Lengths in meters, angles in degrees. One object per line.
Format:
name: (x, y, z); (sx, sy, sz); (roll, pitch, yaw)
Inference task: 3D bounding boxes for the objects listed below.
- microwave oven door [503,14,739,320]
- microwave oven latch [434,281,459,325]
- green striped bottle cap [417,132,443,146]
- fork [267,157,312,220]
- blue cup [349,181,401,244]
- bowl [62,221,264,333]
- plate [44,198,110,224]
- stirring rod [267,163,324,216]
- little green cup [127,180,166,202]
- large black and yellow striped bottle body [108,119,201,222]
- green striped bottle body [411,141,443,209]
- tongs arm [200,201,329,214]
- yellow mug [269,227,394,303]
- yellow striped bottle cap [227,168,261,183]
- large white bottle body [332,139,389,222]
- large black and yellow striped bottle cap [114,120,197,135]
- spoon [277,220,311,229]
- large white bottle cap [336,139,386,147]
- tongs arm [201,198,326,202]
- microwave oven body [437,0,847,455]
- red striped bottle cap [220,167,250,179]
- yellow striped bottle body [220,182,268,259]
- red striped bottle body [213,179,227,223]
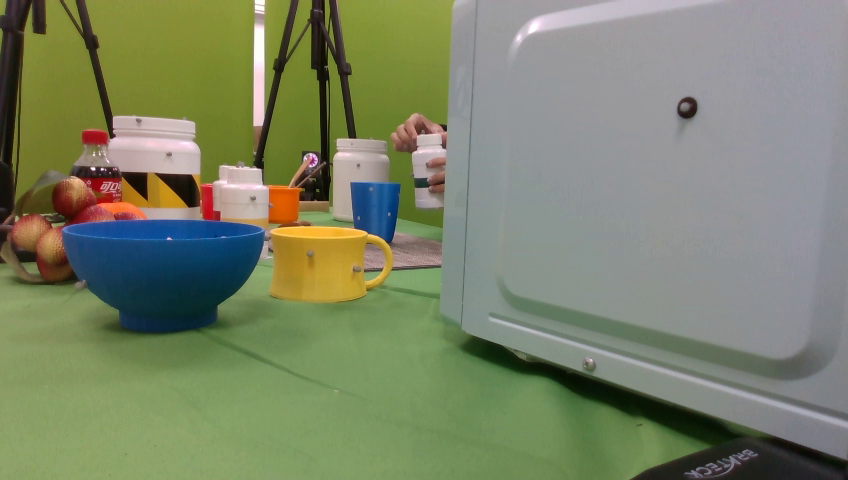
microwave oven door: (0.218, -0.065, 0.600); (0.358, 0.243, 0.039); (-4, 10, -41)
microwave oven latch: (0.044, 0.045, 0.470); (0.079, 0.029, 0.030); (-2, 8, -39)
green striped bottle cap: (0.010, -0.170, 1.026); (0.044, 0.020, 0.044); (-8, 10, 2)
fork: (-0.289, -0.116, 1.321); (0.028, 0.019, 0.207); (6, 51, 19)
blue cup: (-0.082, -0.047, 1.009); (0.093, 0.100, 0.092); (1, 6, 0)
bowl: (-0.208, 0.029, 0.496); (0.151, 0.077, 0.151); (2, 7, 0)
plate: (-0.617, -0.056, 1.179); (0.209, 0.038, 0.209); (3, 7, 0)
stirring rod: (-0.278, -0.105, 1.294); (0.176, 0.006, 0.014); (-47, 26, -18)
little green cup: (-0.486, -0.086, 1.061); (0.061, 0.038, 0.061); (1, 7, 0)
large black and yellow striped bottle body: (-0.412, -0.088, 0.930); (0.131, 0.184, 0.130); (3, 7, 0)
green striped bottle body: (0.013, -0.115, 1.032); (0.063, 0.119, 0.063); (-5, 8, 1)
tongs arm: (-0.378, -0.079, 1.440); (0.387, 0.026, 0.050); (-4, 7, -44)
yellow mug: (-0.094, 0.023, 0.629); (0.131, 0.064, 0.099); (0, 7, -22)
yellow striped bottle cap: (-0.243, -0.087, 0.818); (0.044, 0.018, 0.044); (3, 6, 0)
large white bottle body: (-0.145, -0.136, 1.387); (0.131, 0.184, 0.130); (2, 7, 0)
large black and yellow striped bottle cap: (-0.407, -0.171, 0.920); (0.115, 0.019, 0.115); (2, 9, 0)
spoon: (-0.232, -0.027, 1.116); (0.041, 0.021, 0.193); (-22, 6, 4)
large white bottle cap: (-0.143, -0.219, 1.375); (0.115, 0.018, 0.115); (2, 8, 0)
tongs arm: (-0.433, -0.089, 1.508); (0.390, 0.028, 0.028); (-1, 2, -29)
microwave oven body: (0.279, -0.040, 0.465); (0.444, 0.260, 0.324); (-3, 9, -41)
red striped bottle cap: (-0.281, -0.100, 0.901); (0.044, 0.017, 0.044); (-1, 5, 0)
yellow striped bottle body: (-0.246, -0.036, 0.825); (0.063, 0.120, 0.063); (3, 8, 0)
red striped bottle body: (-0.284, -0.048, 0.909); (0.063, 0.119, 0.063); (3, 11, 0)
